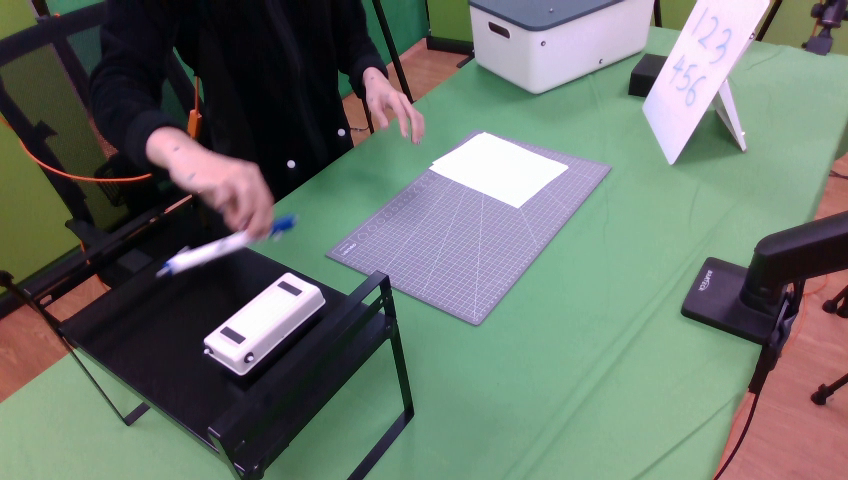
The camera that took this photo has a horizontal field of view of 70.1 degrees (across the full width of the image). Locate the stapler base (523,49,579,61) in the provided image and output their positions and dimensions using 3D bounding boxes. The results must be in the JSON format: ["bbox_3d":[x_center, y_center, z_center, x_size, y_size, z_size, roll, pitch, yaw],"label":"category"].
[{"bbox_3d":[0.300,-0.441,1.434,0.130,0.024,0.041,3,24,18],"label":"stapler base"}]

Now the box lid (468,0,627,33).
[{"bbox_3d":[0.312,-0.554,1.358,0.373,0.015,0.261,-26,44,-20],"label":"box lid"}]

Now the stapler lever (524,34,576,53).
[{"bbox_3d":[0.297,-0.462,1.423,0.117,0.040,0.027,4,25,17],"label":"stapler lever"}]

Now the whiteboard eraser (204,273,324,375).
[{"bbox_3d":[-0.157,0.084,0.605,0.055,0.042,0.113,24,49,30],"label":"whiteboard eraser"}]

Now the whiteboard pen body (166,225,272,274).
[{"bbox_3d":[-0.212,0.005,0.662,0.141,0.017,0.017,-26,42,-37],"label":"whiteboard pen body"}]

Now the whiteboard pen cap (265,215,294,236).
[{"bbox_3d":[-0.168,-0.017,0.697,0.018,0.018,0.033,29,39,35],"label":"whiteboard pen cap"}]

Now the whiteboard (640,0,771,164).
[{"bbox_3d":[0.543,-0.299,1.076,0.144,0.305,0.216,12,40,-7],"label":"whiteboard"}]

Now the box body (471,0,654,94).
[{"bbox_3d":[0.319,-0.498,1.405,0.365,0.161,0.252,-26,43,-21],"label":"box body"}]

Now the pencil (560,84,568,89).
[{"bbox_3d":[0.248,-0.394,1.398,0.193,0.012,0.012,34,54,23],"label":"pencil"}]

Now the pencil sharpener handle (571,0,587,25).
[{"bbox_3d":[0.378,-0.568,1.493,0.036,0.068,0.030,-32,45,-26],"label":"pencil sharpener handle"}]

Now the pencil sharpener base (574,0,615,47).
[{"bbox_3d":[0.411,-0.536,1.469,0.061,0.107,0.076,-31,45,-26],"label":"pencil sharpener base"}]
